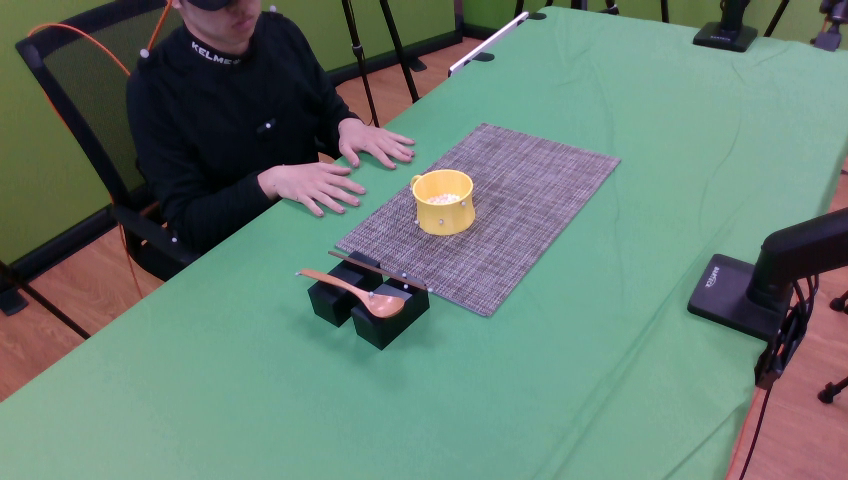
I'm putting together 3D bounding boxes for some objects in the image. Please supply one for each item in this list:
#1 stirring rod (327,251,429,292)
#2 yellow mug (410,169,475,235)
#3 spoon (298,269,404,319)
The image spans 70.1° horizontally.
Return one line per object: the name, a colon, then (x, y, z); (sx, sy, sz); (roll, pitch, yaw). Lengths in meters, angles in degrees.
stirring rod: (-0.068, 0.043, 0.858); (0.175, 0.006, 0.014); (18, 9, 27)
yellow mug: (0.022, -0.070, 1.007); (0.129, 0.064, 0.100); (29, 52, 36)
spoon: (-0.106, 0.068, 0.831); (0.192, 0.022, 0.042); (21, 49, 32)
